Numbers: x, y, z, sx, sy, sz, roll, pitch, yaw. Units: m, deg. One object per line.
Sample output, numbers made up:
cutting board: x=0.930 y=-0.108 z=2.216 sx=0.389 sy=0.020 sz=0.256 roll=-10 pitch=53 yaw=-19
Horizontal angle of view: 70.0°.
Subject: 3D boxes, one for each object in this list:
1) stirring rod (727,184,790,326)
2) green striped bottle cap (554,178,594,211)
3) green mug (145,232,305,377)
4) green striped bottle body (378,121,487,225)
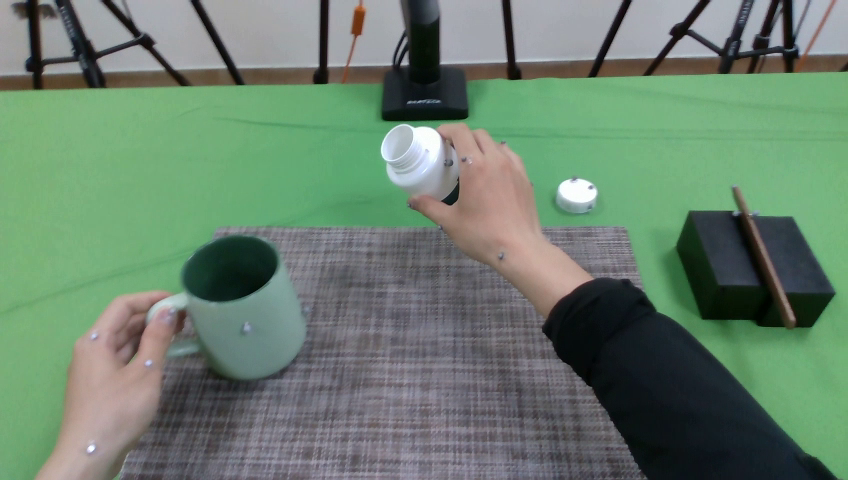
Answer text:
stirring rod: x=0.306 y=0.007 z=0.559 sx=0.006 sy=0.014 sz=0.174 roll=0 pitch=45 yaw=7
green striped bottle cap: x=0.172 y=-0.052 z=0.693 sx=0.044 sy=0.020 sz=0.044 roll=0 pitch=41 yaw=0
green mug: x=-0.171 y=0.062 z=0.519 sx=0.125 sy=0.106 sz=0.091 roll=-20 pitch=48 yaw=-17
green striped bottle body: x=0.006 y=-0.066 z=0.582 sx=0.063 sy=0.120 sz=0.062 roll=-17 pitch=57 yaw=29
